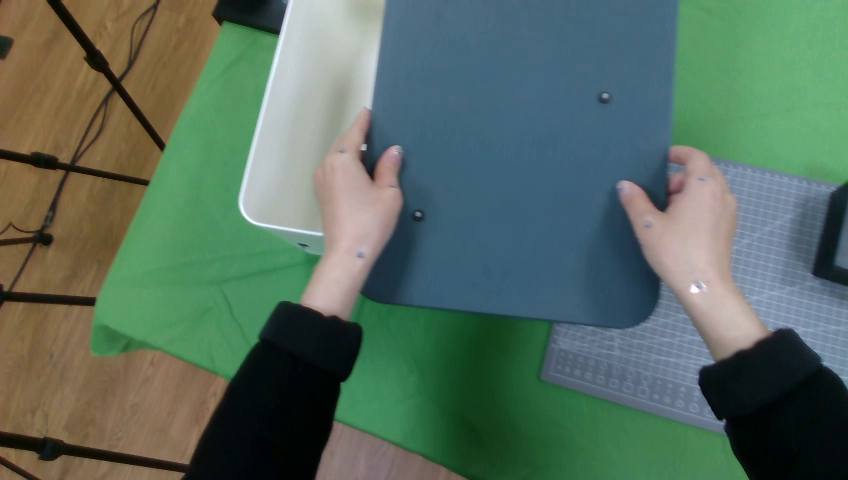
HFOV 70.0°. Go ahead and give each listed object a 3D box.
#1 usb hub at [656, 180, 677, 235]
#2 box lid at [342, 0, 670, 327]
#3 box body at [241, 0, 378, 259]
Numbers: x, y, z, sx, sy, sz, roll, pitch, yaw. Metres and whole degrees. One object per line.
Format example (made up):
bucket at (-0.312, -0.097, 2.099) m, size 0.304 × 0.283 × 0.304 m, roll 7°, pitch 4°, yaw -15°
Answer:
usb hub at (0.237, -0.012, 0.682) m, size 0.049 × 0.025 × 0.125 m, roll 25°, pitch 81°, yaw 12°
box lid at (0.077, -0.115, 0.534) m, size 0.263 × 0.015 × 0.370 m, roll 6°, pitch 81°, yaw 3°
box body at (-0.018, -0.151, 0.683) m, size 0.253 × 0.161 × 0.362 m, roll 9°, pitch 77°, yaw 10°
